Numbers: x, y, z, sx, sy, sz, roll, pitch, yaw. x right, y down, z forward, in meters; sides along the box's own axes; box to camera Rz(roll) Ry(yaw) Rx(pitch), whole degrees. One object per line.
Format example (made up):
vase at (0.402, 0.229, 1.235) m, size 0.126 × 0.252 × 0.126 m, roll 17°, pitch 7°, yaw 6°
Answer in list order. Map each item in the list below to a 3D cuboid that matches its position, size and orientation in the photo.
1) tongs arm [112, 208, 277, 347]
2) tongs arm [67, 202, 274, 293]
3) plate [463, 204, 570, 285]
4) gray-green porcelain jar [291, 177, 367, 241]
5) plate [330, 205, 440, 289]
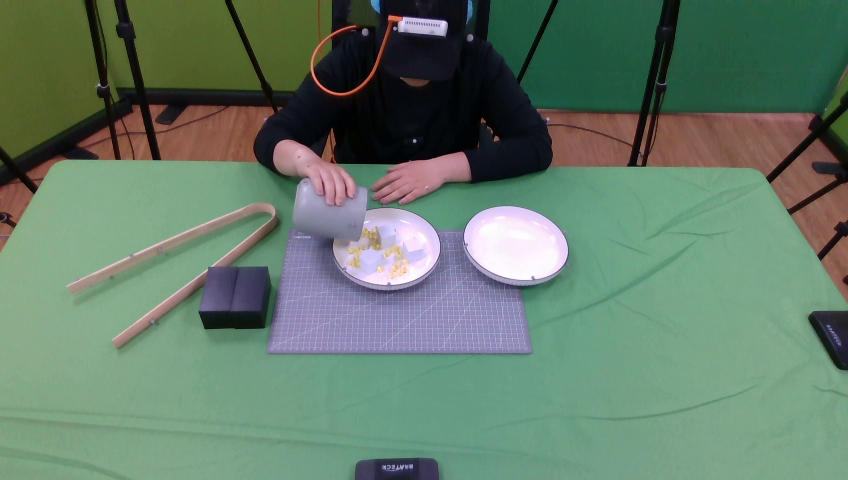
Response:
tongs arm at (-0.400, 0.058, 1.108) m, size 0.028 × 0.028 × 0.387 m, roll 26°, pitch 49°, yaw 23°
tongs arm at (-0.461, 0.013, 1.142) m, size 0.385 × 0.026 × 0.050 m, roll -31°, pitch 56°, yaw -31°
plate at (0.178, 0.012, 1.184) m, size 0.209 × 0.038 × 0.208 m, roll 3°, pitch 46°, yaw -3°
gray-green porcelain jar at (-0.177, -0.059, 1.124) m, size 0.127 × 0.106 × 0.105 m, roll 10°, pitch 45°, yaw -13°
plate at (-0.074, 0.018, 1.160) m, size 0.208 × 0.039 × 0.206 m, roll 2°, pitch 46°, yaw -2°
